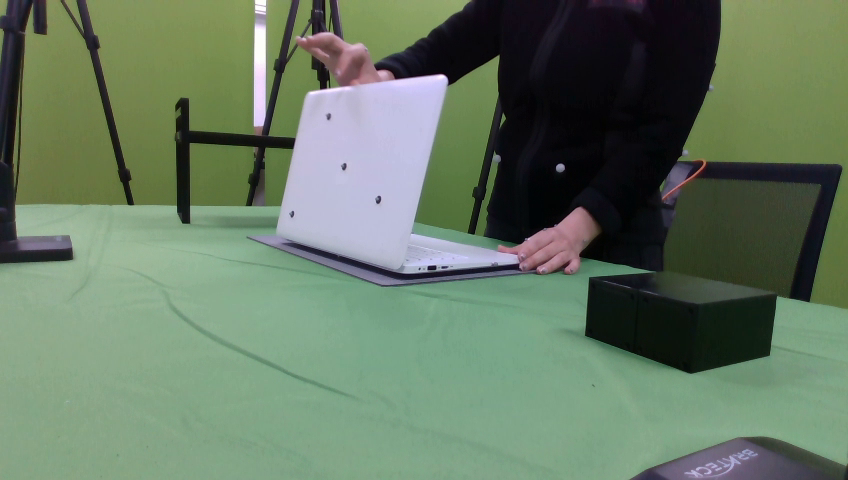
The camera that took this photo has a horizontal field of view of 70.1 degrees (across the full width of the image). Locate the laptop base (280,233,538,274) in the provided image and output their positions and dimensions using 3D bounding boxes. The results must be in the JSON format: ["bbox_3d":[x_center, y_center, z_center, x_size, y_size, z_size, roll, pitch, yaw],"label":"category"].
[{"bbox_3d":[-0.037,0.014,0.895,0.237,0.023,0.352,1,7,-38],"label":"laptop base"}]

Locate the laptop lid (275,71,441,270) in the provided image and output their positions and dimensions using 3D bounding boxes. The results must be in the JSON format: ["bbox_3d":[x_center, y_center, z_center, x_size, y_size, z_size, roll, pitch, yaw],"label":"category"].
[{"bbox_3d":[-0.109,-0.101,0.820,0.013,0.241,0.355,10,2,-39],"label":"laptop lid"}]
